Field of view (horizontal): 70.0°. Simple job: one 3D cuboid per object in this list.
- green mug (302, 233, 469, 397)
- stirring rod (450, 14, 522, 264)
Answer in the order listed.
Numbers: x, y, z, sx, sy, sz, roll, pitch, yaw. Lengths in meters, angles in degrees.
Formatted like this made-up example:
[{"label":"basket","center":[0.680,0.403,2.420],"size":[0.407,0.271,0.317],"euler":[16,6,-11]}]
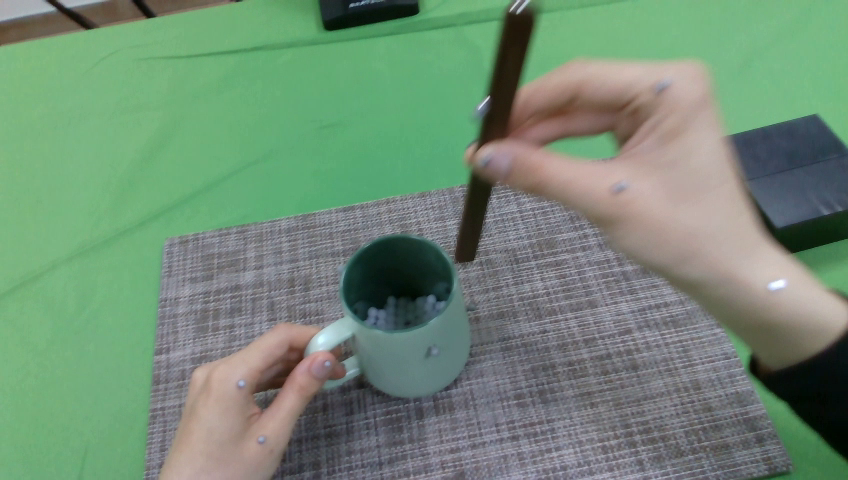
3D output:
[{"label":"green mug","center":[-0.028,0.065,0.435],"size":[0.125,0.106,0.091],"euler":[-30,58,-15]},{"label":"stirring rod","center":[0.027,-0.035,0.303],"size":[0.014,0.177,0.005],"euler":[-9,57,-9]}]
